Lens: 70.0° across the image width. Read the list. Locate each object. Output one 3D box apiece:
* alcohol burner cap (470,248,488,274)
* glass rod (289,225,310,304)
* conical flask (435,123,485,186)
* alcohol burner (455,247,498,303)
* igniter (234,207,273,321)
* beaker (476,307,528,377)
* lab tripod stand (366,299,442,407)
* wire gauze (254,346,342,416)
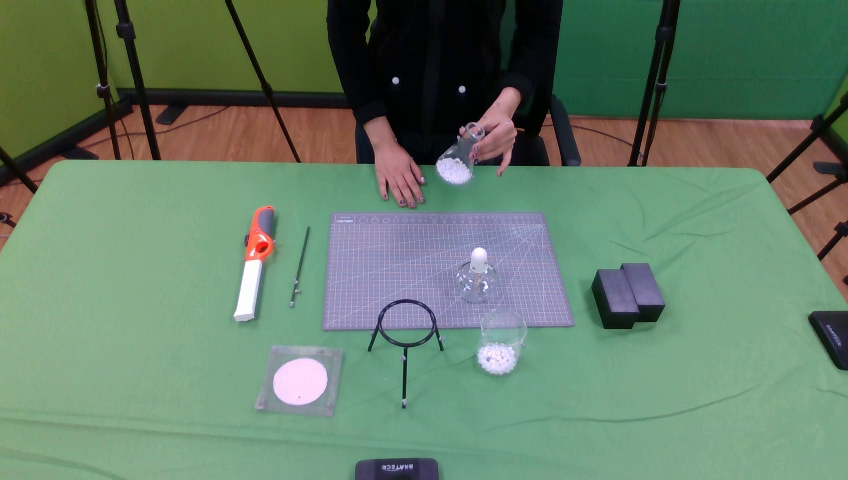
[{"bbox_3d":[0.095,0.034,1.057,0.034,0.048,0.033,-3,53,4],"label":"alcohol burner cap"},{"bbox_3d":[-0.235,0.043,1.150,0.008,0.008,0.198,3,46,-1],"label":"glass rod"},{"bbox_3d":[0.073,-0.164,1.136,0.075,0.122,0.075,12,52,-16],"label":"conical flask"},{"bbox_3d":[0.095,0.057,1.084,0.078,0.120,0.077,1,47,-1],"label":"alcohol burner"},{"bbox_3d":[-0.318,0.035,1.137,0.057,0.025,0.274,-8,46,3],"label":"igniter"},{"bbox_3d":[0.122,0.171,0.991,0.084,0.101,0.073,-34,56,-30],"label":"beaker"},{"bbox_3d":[-0.028,0.165,0.961,0.148,0.132,0.147,3,44,-2],"label":"lab tripod stand"},{"bbox_3d":[-0.201,0.223,0.978,0.125,0.011,0.121,4,45,1],"label":"wire gauze"}]
